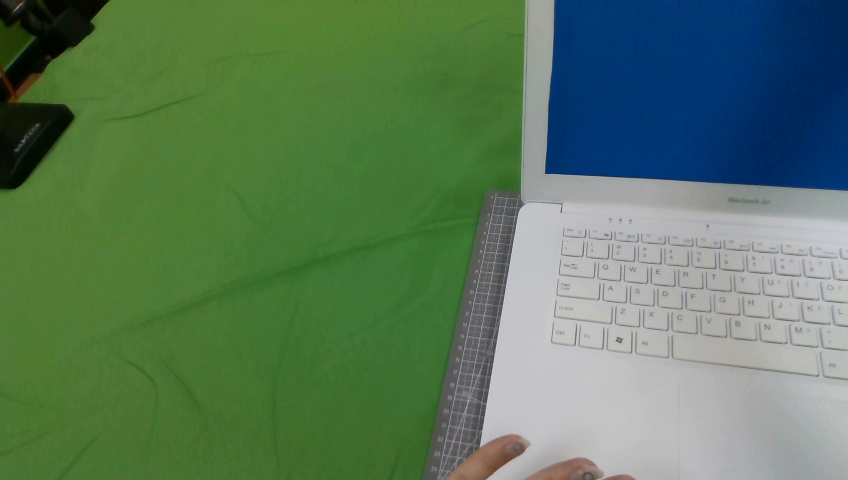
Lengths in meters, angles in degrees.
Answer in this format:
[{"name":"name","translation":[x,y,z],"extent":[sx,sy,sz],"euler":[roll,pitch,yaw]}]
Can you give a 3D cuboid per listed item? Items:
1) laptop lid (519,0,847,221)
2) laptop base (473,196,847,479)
[{"name":"laptop lid","translation":[0.244,-0.116,0.414],"extent":[0.355,0.243,0.013],"euler":[4,33,14]},{"name":"laptop base","translation":[0.225,0.078,0.413],"extent":[0.353,0.023,0.234],"euler":[5,58,14]}]
